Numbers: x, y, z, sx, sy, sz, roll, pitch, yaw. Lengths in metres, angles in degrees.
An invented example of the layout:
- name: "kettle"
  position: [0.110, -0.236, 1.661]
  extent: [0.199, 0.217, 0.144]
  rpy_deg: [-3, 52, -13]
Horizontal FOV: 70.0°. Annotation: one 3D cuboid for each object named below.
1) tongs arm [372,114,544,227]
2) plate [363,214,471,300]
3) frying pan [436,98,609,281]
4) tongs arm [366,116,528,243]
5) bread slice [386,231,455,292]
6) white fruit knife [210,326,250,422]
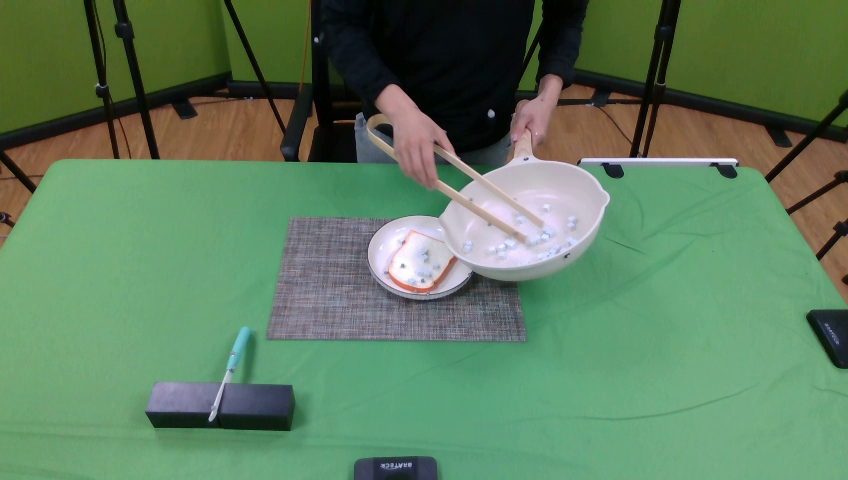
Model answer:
- name: "tongs arm"
  position: [0.055, -0.132, 1.094]
  extent: [0.386, 0.028, 0.028]
  rpy_deg: [36, 70, 21]
- name: "plate"
  position: [-0.010, 0.036, 1.146]
  extent: [0.208, 0.039, 0.206]
  rpy_deg: [3, 46, -2]
- name: "frying pan"
  position: [0.188, -0.114, 1.150]
  extent: [0.306, 0.103, 0.485]
  rpy_deg: [-6, 49, 18]
- name: "tongs arm"
  position: [0.035, -0.114, 1.083]
  extent: [0.383, 0.026, 0.050]
  rpy_deg: [33, 66, 20]
- name: "bread slice"
  position: [-0.007, 0.043, 1.142]
  extent: [0.107, 0.018, 0.134]
  rpy_deg: [18, 46, 14]
- name: "white fruit knife"
  position: [-0.301, 0.201, 0.942]
  extent: [0.016, 0.027, 0.206]
  rpy_deg: [2, 32, -2]
